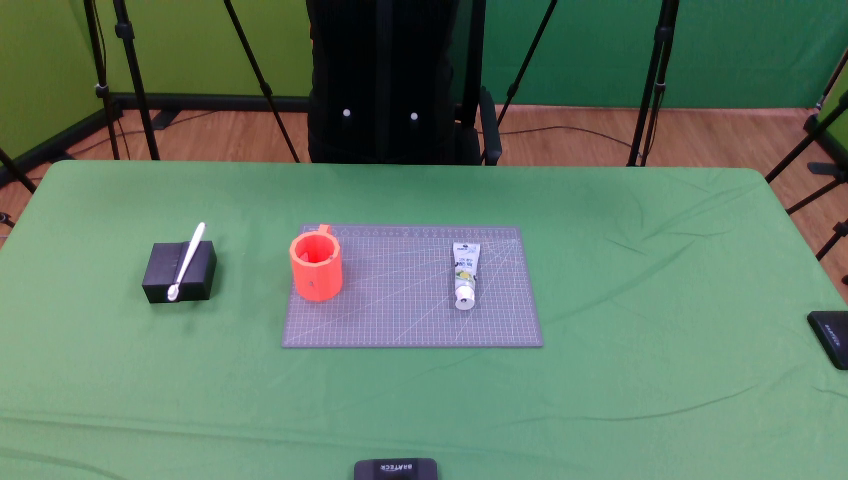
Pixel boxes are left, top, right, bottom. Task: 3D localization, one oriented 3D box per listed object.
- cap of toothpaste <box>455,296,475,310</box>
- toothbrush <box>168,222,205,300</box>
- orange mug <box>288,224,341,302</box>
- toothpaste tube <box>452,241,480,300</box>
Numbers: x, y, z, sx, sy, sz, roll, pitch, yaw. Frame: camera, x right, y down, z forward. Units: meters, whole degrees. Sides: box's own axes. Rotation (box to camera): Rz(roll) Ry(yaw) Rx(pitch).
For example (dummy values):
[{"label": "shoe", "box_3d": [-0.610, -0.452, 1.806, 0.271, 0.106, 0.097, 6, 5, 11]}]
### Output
[{"label": "cap of toothpaste", "box_3d": [0.072, 0.111, 1.081, 0.037, 0.037, 0.011, -2, 47, -6]}, {"label": "toothbrush", "box_3d": [-0.419, 0.032, 1.070, 0.014, 0.017, 0.180, 1, 46, 2]}, {"label": "orange mug", "box_3d": [-0.192, 0.034, 1.094, 0.083, 0.101, 0.125, 7, 50, 2]}, {"label": "toothpaste tube", "box_3d": [0.079, 0.058, 1.142, 0.055, 0.034, 0.164, 9, 42, -3]}]
